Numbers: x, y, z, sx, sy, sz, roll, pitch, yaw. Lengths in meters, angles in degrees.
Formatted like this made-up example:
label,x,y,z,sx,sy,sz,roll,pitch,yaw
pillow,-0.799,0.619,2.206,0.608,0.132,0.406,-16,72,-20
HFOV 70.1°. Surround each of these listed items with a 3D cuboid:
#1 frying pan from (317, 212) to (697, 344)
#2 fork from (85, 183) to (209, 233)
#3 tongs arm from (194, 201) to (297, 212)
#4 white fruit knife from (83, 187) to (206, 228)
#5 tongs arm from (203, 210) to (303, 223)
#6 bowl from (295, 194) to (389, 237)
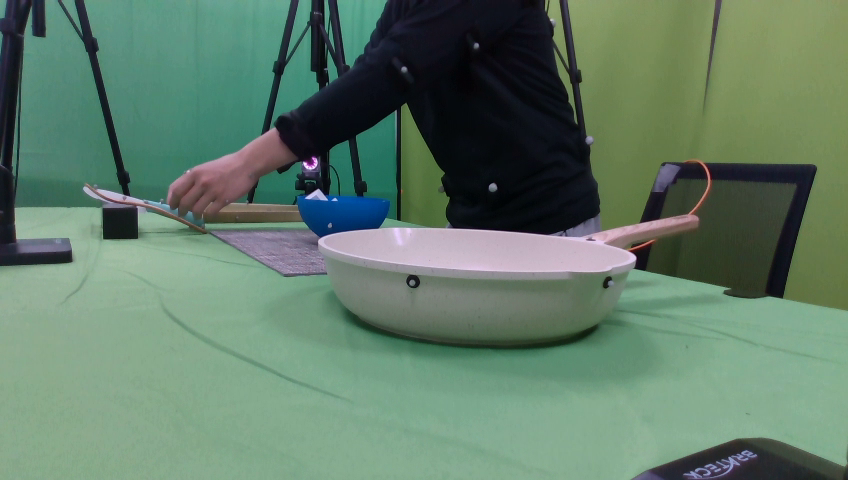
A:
label,x,y,z,sx,sy,sz,roll,pitch,yaw
frying pan,0.133,0.013,0.629,0.490,0.102,0.305,-12,14,-31
fork,-0.460,-0.051,1.019,0.208,0.018,0.028,22,-26,-38
tongs arm,-0.335,-0.070,1.425,0.387,0.026,0.050,1,9,-24
white fruit knife,-0.488,-0.059,1.071,0.208,0.027,0.016,17,3,-33
tongs arm,-0.298,-0.055,1.355,0.390,0.028,0.028,-3,7,-37
bowl,-0.132,-0.032,0.980,0.151,0.077,0.151,2,7,0
